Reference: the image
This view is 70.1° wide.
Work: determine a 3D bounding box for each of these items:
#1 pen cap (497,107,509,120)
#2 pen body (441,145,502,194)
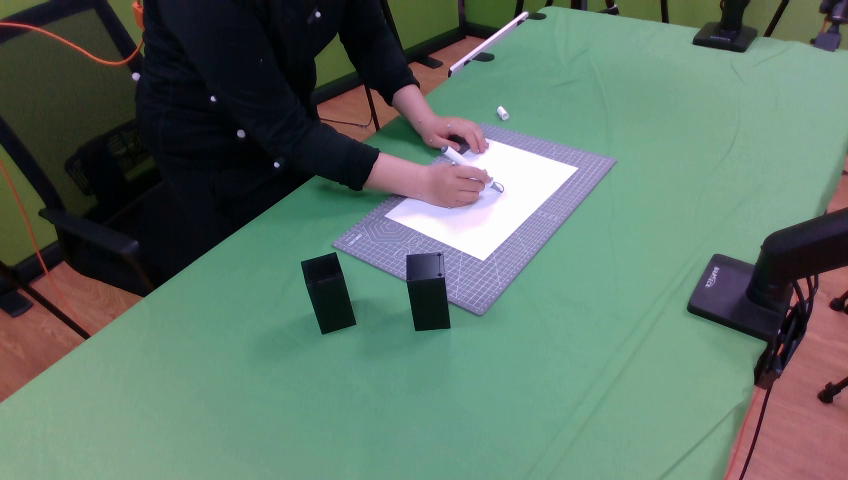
[{"bbox_3d":[0.164,-0.264,1.262,0.017,0.017,0.038,-14,41,-7],"label":"pen cap"},{"bbox_3d":[0.084,-0.115,1.023,0.017,0.145,0.017,-36,36,32],"label":"pen body"}]
